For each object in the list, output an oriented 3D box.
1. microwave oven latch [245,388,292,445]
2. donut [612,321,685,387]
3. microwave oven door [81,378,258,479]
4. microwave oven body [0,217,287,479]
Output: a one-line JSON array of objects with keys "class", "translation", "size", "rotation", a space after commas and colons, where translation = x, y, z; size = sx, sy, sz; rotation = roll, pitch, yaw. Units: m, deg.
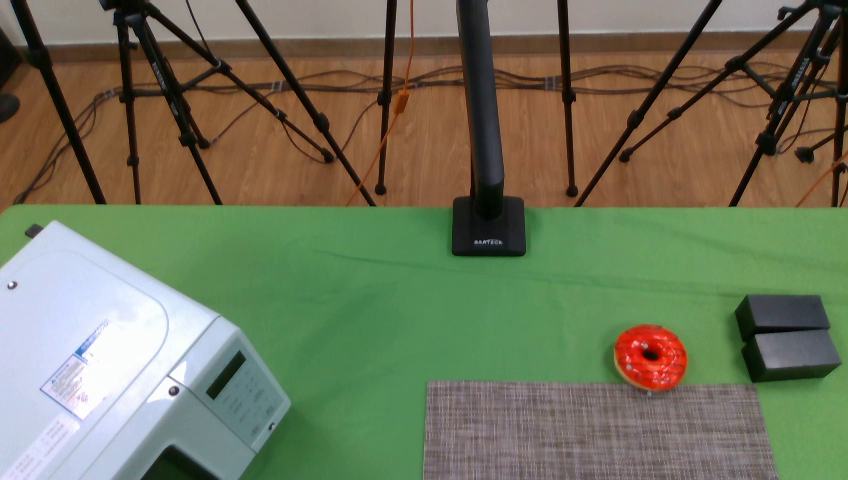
[{"class": "microwave oven latch", "translation": [-0.210, 0.232, 0.812], "size": [0.030, 0.030, 0.079], "rotation": [27, 63, 19]}, {"class": "donut", "translation": [0.311, 0.158, 0.841], "size": [0.099, 0.049, 0.098], "rotation": [-4, 53, 6]}, {"class": "microwave oven door", "translation": [-0.331, 0.334, 0.628], "size": [0.039, 0.246, 0.354], "rotation": [24, 61, 20]}, {"class": "microwave oven body", "translation": [-0.434, 0.249, 0.699], "size": [0.324, 0.262, 0.440], "rotation": [25, 62, 19]}]
